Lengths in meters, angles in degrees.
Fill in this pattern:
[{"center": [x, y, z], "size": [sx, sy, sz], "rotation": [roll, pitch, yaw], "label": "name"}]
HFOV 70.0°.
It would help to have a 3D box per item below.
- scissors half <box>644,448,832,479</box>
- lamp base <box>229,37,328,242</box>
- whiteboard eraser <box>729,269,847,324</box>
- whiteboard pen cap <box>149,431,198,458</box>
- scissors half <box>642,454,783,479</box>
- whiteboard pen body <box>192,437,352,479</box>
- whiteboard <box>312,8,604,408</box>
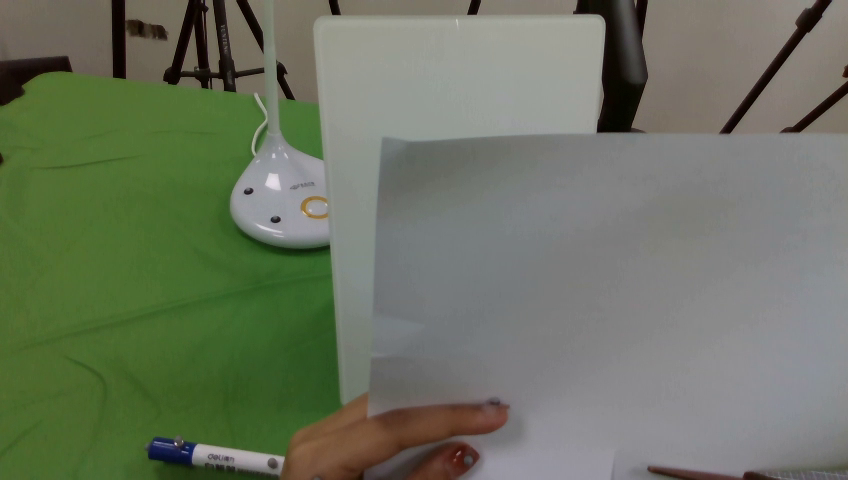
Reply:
[{"center": [0.185, 0.112, 0.262], "size": [0.175, 0.040, 0.012], "rotation": [11, 65, 8], "label": "scissors half"}, {"center": [-0.145, -0.116, 0.660], "size": [0.161, 0.182, 0.177], "rotation": [-27, 47, -35], "label": "lamp base"}, {"center": [0.382, 0.059, 0.627], "size": [0.113, 0.042, 0.055], "rotation": [2, 40, -6], "label": "whiteboard eraser"}, {"center": [-0.181, 0.150, 0.443], "size": [0.033, 0.018, 0.018], "rotation": [8, 38, -2], "label": "whiteboard pen cap"}, {"center": [0.178, 0.102, 0.243], "size": [0.174, 0.040, 0.012], "rotation": [-1, 66, 33], "label": "scissors half"}, {"center": [-0.123, 0.158, 0.443], "size": [0.141, 0.017, 0.017], "rotation": [9, 38, 0], "label": "whiteboard pen body"}, {"center": [0.016, -0.038, 0.534], "size": [0.218, 0.307, 0.142], "rotation": [-6, 21, -14], "label": "whiteboard"}]
